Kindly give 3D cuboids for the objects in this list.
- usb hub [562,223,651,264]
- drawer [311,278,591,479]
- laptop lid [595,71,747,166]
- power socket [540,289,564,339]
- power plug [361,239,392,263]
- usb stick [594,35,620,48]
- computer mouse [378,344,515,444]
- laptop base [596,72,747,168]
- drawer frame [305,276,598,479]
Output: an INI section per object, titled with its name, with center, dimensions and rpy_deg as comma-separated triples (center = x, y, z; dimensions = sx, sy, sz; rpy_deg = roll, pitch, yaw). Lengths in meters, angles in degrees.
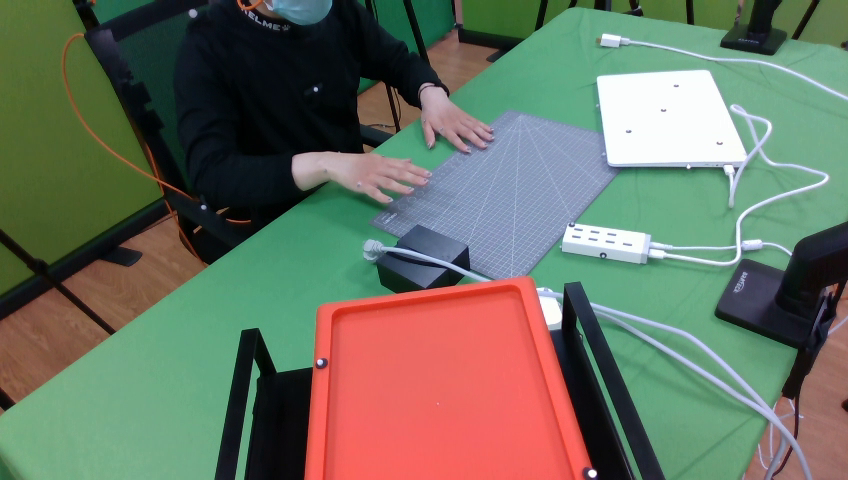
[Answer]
[usb hub]
center = 0.279, 0.004, 0.926
dimensions = 0.124, 0.025, 0.049
rpy_deg = 10, 43, 19
[drawer]
center = 0.013, 0.137, 0.489
dimensions = 0.195, 0.073, 0.210
rpy_deg = -7, 41, 0
[laptop lid]
center = 0.465, -0.248, 1.181
dimensions = 0.241, 0.013, 0.355
rpy_deg = 1, 41, 12
[power socket]
center = 0.080, 0.112, 0.822
dimensions = 0.227, 0.033, 0.072
rpy_deg = -7, 41, -1
[power plug]
center = -0.070, 0.024, 0.930
dimensions = 0.072, 0.053, 0.035
rpy_deg = 32, 82, 42
[usb stick]
center = 0.443, -0.482, 1.466
dimensions = 0.059, 0.021, 0.027
rpy_deg = 10, 42, 9
[computer mouse]
center = 0.018, 0.126, 0.520
dimensions = 0.116, 0.041, 0.063
rpy_deg = 13, 47, 29
[laptop base]
center = 0.469, -0.238, 1.189
dimensions = 0.235, 0.023, 0.353
rpy_deg = -1, 40, 11
[drawer frame]
center = 0.014, 0.137, 0.486
dimensions = 0.202, 0.083, 0.212
rpy_deg = -8, 41, -1
